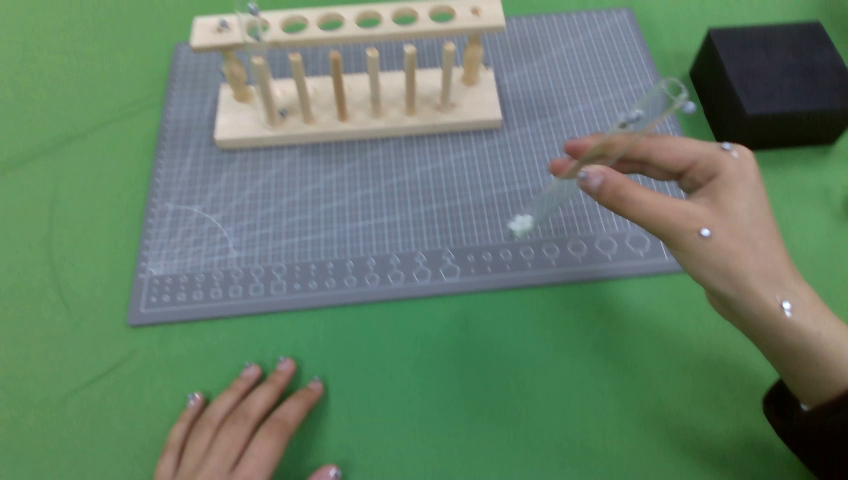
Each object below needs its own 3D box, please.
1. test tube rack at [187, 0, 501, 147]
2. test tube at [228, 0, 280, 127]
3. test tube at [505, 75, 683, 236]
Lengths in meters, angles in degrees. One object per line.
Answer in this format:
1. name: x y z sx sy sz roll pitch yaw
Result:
1. test tube rack: -0.060 -0.139 0.501 0.242 0.086 0.066 -5 59 -2
2. test tube: -0.127 -0.140 0.450 0.017 0.151 0.017 1 58 -2
3. test tube: 0.088 -0.040 0.347 0.017 0.150 0.017 12 59 -20
